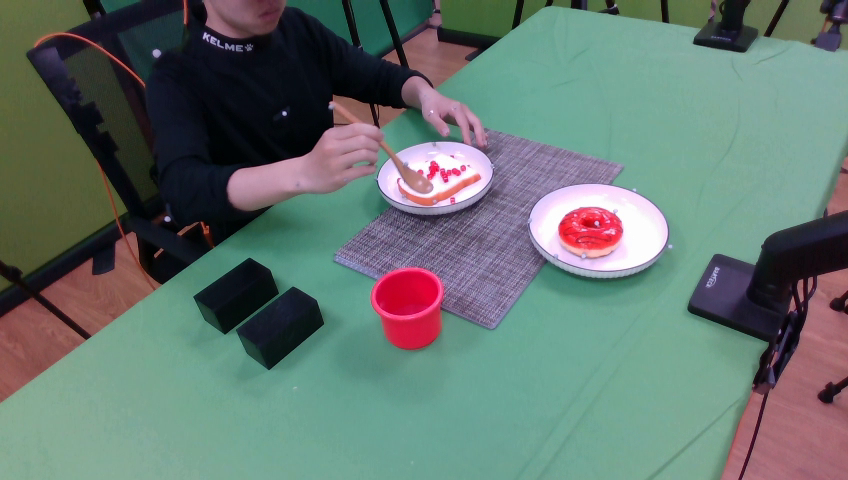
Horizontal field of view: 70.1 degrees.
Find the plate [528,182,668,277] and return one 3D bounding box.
[{"bbox_3d":[0.264,-0.014,0.933,0.207,0.039,0.206,-3,42,3],"label":"plate"}]

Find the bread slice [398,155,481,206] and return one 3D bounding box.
[{"bbox_3d":[0.021,-0.106,1.077,0.132,0.019,0.104,-31,45,-28],"label":"bread slice"}]

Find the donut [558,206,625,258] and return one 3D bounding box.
[{"bbox_3d":[0.254,-0.015,0.917,0.099,0.048,0.098,-5,41,5],"label":"donut"}]

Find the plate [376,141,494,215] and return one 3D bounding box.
[{"bbox_3d":[0.021,-0.106,1.073,0.209,0.038,0.208,-4,40,4],"label":"plate"}]

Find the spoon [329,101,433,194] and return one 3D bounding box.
[{"bbox_3d":[-0.057,-0.128,0.844,0.021,0.195,0.041,-26,35,33],"label":"spoon"}]
